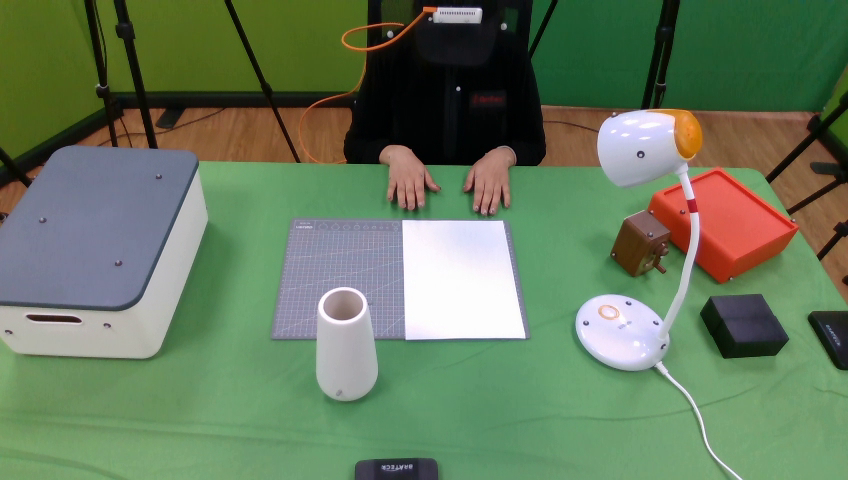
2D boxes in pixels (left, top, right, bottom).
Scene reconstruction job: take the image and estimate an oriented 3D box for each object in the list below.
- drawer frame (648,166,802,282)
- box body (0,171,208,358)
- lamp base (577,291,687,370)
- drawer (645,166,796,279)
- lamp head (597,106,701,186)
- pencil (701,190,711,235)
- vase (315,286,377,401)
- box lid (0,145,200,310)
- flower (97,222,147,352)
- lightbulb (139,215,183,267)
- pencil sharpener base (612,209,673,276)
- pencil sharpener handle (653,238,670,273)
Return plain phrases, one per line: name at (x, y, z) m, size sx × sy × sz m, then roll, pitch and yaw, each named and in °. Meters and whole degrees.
drawer frame at (0.603, -0.040, 1.233) m, size 0.202 × 0.083 × 0.212 m, roll -21°, pitch 51°, yaw -23°
box body at (-0.545, 0.017, 1.045) m, size 0.254 × 0.161 × 0.361 m, roll 2°, pitch 46°, yaw -2°
lamp base at (0.361, 0.110, 1.003) m, size 0.160 × 0.181 × 0.178 m, roll -31°, pitch 57°, yaw -28°
drawer at (0.600, -0.041, 1.236) m, size 0.195 × 0.073 × 0.210 m, roll -21°, pitch 51°, yaw -23°
lamp head at (0.329, -0.138, 0.865) m, size 0.112 × 0.113 × 0.122 m, roll -36°, pitch 20°, yaw -32°
pencil at (0.585, -0.059, 1.256) m, size 0.012 × 0.012 × 0.193 m, roll 16°, pitch 34°, yaw 11°
vase at (-0.119, 0.159, 0.911) m, size 0.098 × 0.201 × 0.097 m, roll 2°, pitch 47°, yaw -2°
box lid at (-0.541, -0.037, 0.993) m, size 0.263 × 0.015 × 0.369 m, roll 3°, pitch 45°, yaw -2°
flower at (-0.557, 0.069, 1.089) m, size 0.044 × 0.038 × 0.359 m, roll -24°, pitch 47°, yaw -19°
lightbulb at (-0.496, 0.003, 1.131) m, size 0.059 × 0.060 × 0.107 m, roll 18°, pitch 63°, yaw 13°
pencil sharpener base at (0.416, 0.007, 1.158) m, size 0.061 × 0.107 × 0.076 m, roll -21°, pitch 51°, yaw -22°
pencil sharpener handle at (0.444, 0.030, 1.120) m, size 0.036 × 0.068 × 0.030 m, roll -25°, pitch 52°, yaw -18°
